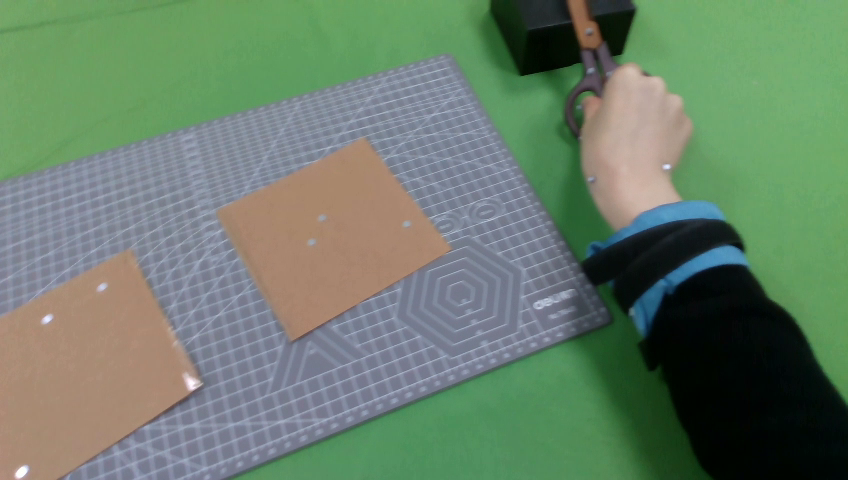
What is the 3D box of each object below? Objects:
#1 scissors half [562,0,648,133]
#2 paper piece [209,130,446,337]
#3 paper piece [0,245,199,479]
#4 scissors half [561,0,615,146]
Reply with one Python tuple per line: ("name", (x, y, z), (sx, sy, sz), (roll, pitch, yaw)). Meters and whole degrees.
("scissors half", (0.142, -0.169, 0.503), (0.040, 0.013, 0.174), (-31, 72, 33))
("paper piece", (-0.075, -0.012, 0.460), (0.136, 0.004, 0.134), (-30, 63, -16))
("paper piece", (-0.238, 0.081, 0.405), (0.138, 0.009, 0.134), (-33, 58, -16))
("scissors half", (0.127, -0.162, 0.513), (0.040, 0.013, 0.174), (-13, 81, 31))
